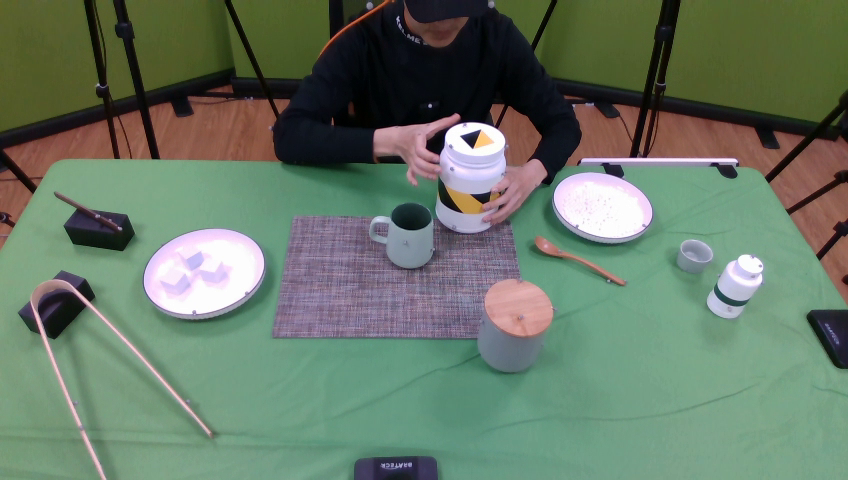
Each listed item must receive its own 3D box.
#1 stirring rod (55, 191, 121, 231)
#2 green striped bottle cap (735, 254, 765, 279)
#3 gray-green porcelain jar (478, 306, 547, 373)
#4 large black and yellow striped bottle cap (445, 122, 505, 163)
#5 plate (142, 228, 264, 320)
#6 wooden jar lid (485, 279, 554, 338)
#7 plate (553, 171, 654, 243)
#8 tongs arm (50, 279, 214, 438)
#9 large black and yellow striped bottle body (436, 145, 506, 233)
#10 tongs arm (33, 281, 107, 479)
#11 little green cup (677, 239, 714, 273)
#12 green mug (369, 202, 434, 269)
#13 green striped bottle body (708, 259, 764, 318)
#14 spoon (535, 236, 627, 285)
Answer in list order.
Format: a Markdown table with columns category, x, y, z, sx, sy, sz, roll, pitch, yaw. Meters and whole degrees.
| category | x | y | z | sx | sy | sz | roll | pitch | yaw |
| --- | --- | --- | --- | --- | --- | --- | --- | --- | --- |
| stirring rod | -0.632 | -0.055 | 1.138 | 0.175 | 0.014 | 0.006 | 24 | 50 | 19 |
| green striped bottle cap | 0.566 | 0.046 | 1.051 | 0.044 | 0.020 | 0.044 | 0 | 45 | 0 |
| gray-green porcelain jar | 0.144 | 0.148 | 0.989 | 0.106 | 0.127 | 0.105 | 2 | 50 | -2 |
| large black and yellow striped bottle cap | 0.096 | -0.186 | 1.143 | 0.115 | 0.019 | 0.114 | 2 | 43 | -2 |
| plate | -0.394 | 0.064 | 1.095 | 0.208 | 0.039 | 0.206 | 2 | 46 | -2 |
| wooden jar lid | 0.147 | 0.108 | 0.940 | 0.108 | 0.021 | 0.107 | 4 | 47 | -4 |
| plate | 0.373 | -0.066 | 1.274 | 0.209 | 0.038 | 0.208 | 2 | 46 | -2 |
| tongs arm | -0.459 | 0.178 | 0.949 | 0.386 | 0.028 | 0.028 | 37 | 60 | 17 |
| large black and yellow striped bottle body | 0.093 | -0.120 | 1.202 | 0.131 | 0.185 | 0.130 | 2 | 42 | -1 |
| tongs arm | -0.517 | 0.214 | 0.910 | 0.051 | 0.026 | 0.383 | -29 | 63 | -26 |
| little green cup | 0.530 | 0.033 | 1.189 | 0.061 | 0.039 | 0.061 | 2 | 47 | -2 |
| green mug | -0.043 | -0.010 | 1.140 | 0.125 | 0.105 | 0.092 | 8 | 47 | 4 |
| green striped bottle body | 0.563 | 0.081 | 1.089 | 0.063 | 0.120 | 0.063 | 2 | 46 | -2 |
| spoon | 0.303 | 0.040 | 1.178 | 0.193 | 0.022 | 0.041 | 25 | 33 | 19 |
